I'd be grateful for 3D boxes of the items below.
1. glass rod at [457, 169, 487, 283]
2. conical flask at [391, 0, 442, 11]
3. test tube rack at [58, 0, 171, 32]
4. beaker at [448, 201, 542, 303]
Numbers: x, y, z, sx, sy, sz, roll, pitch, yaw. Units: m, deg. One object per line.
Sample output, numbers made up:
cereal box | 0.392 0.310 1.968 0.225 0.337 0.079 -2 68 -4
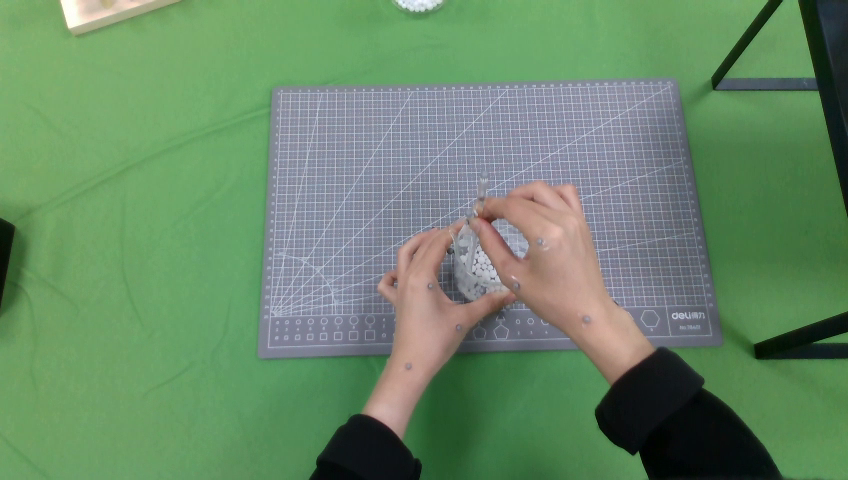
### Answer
glass rod | 0.038 -0.004 0.508 0.008 0.201 0.008 1 64 -1
conical flask | -0.009 -0.316 0.659 0.075 0.122 0.075 0 72 0
test tube rack | -0.305 -0.324 0.678 0.242 0.085 0.066 -22 73 -7
beaker | 0.060 0.015 0.563 0.084 0.101 0.073 23 73 8
